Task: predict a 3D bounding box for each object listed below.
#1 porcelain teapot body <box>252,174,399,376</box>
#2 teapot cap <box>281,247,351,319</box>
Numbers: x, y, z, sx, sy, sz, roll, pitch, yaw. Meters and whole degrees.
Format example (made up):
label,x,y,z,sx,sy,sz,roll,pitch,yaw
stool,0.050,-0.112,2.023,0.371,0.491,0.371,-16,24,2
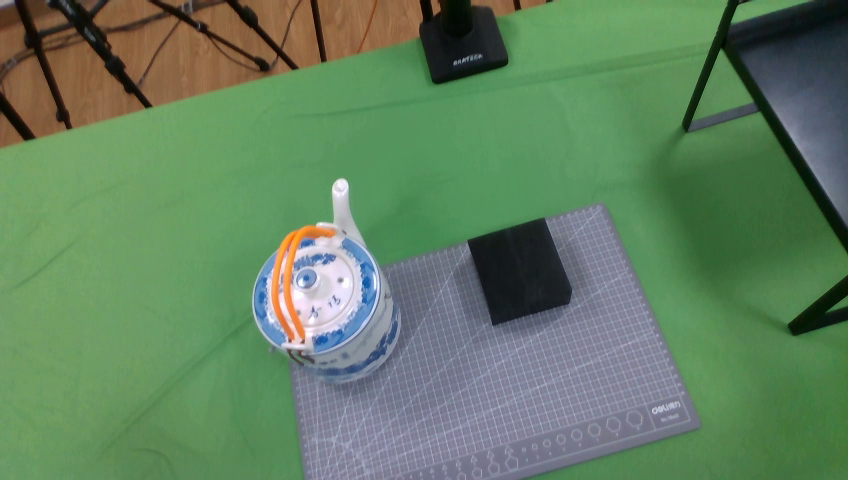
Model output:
label,x,y,z,sx,sy,sz,roll,pitch,yaw
porcelain teapot body,-0.110,0.033,0.687,0.145,0.227,0.204,4,66,11
teapot cap,-0.120,0.042,0.640,0.085,0.044,0.084,-5,62,10
